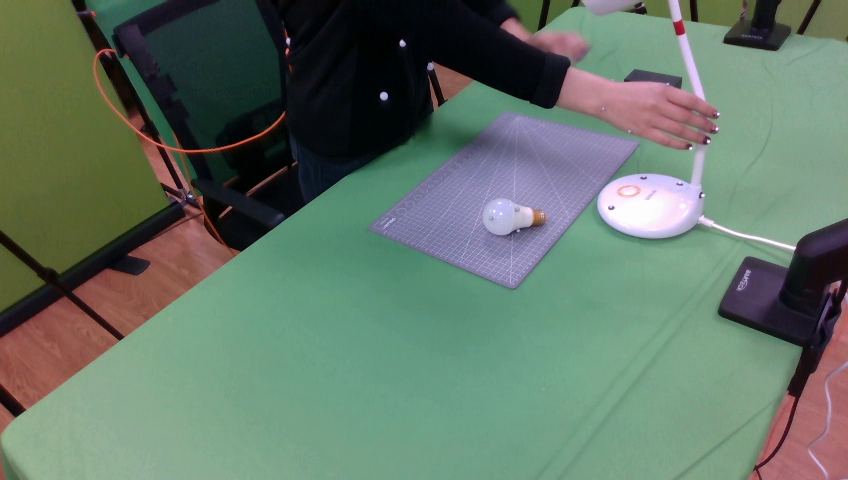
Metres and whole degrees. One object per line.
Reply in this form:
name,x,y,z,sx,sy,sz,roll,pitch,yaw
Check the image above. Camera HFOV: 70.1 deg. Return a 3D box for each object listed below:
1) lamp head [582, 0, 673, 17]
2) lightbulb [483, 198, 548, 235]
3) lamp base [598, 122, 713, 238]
lamp head,0.261,-0.338,0.737,0.122,0.113,0.112,9,42,42
lightbulb,0.148,-0.037,0.973,0.108,0.059,0.059,1,39,-12
lamp base,0.366,-0.113,0.924,0.178,0.181,0.161,20,48,26
